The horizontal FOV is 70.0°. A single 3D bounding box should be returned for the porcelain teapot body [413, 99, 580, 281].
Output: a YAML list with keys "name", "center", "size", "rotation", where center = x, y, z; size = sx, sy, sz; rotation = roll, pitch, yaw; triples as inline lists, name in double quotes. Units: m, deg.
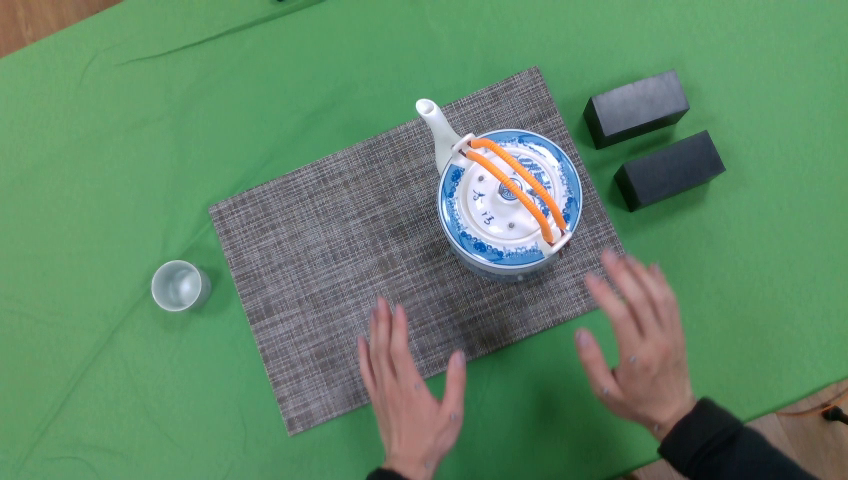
- name: "porcelain teapot body"
  center: [0.063, -0.058, 0.624]
  size: [0.204, 0.226, 0.145]
  rotation: [44, 88, 10]

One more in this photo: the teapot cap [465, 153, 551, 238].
- name: "teapot cap"
  center: [0.081, -0.044, 0.581]
  size: [0.085, 0.044, 0.085]
  rotation: [-1, 79, 4]

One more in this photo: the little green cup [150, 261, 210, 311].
- name: "little green cup"
  center: [-0.294, 0.057, 0.738]
  size: [0.061, 0.039, 0.061]
  rotation: [-1, 83, 7]
